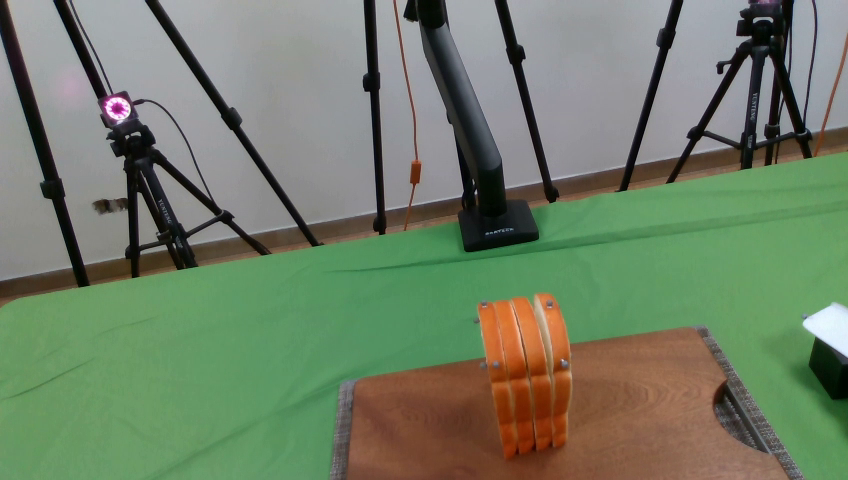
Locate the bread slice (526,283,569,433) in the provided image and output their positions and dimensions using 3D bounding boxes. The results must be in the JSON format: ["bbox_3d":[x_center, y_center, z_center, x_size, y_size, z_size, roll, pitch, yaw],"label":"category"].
[{"bbox_3d":[0.121,0.110,0.601,0.019,0.133,0.104,-6,35,-2],"label":"bread slice"}]

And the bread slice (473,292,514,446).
[{"bbox_3d":[0.068,0.118,0.604,0.018,0.135,0.106,-11,31,3],"label":"bread slice"}]

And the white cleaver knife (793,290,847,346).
[{"bbox_3d":[0.463,0.127,0.542,0.066,0.022,0.283,-19,36,-10],"label":"white cleaver knife"}]
